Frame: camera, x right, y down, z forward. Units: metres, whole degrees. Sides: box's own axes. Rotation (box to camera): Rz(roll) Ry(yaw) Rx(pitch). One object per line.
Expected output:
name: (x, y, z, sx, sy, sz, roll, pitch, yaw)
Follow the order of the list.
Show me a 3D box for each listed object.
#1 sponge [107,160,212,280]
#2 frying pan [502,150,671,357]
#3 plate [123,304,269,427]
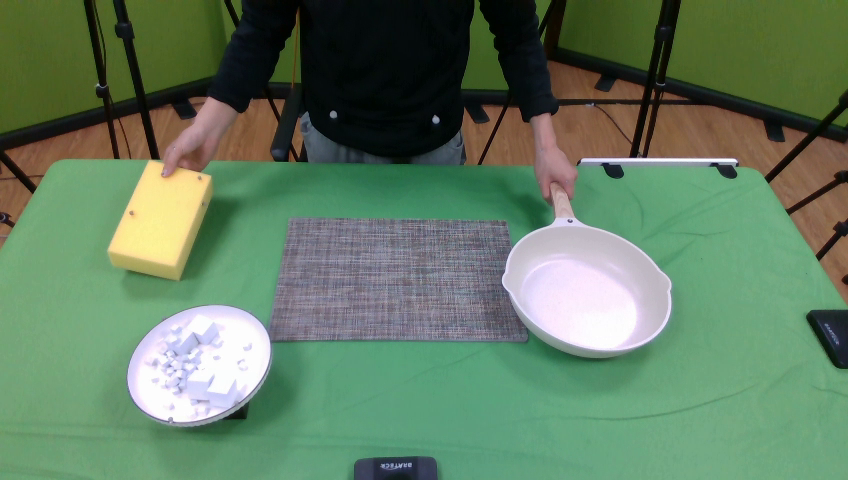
sponge: (-0.483, -0.039, 1.124, 0.118, 0.061, 0.205, 13, 57, -9)
frying pan: (0.281, 0.008, 1.153, 0.307, 0.103, 0.484, 1, 54, -6)
plate: (-0.337, 0.189, 0.913, 0.208, 0.039, 0.206, 1, 46, -1)
